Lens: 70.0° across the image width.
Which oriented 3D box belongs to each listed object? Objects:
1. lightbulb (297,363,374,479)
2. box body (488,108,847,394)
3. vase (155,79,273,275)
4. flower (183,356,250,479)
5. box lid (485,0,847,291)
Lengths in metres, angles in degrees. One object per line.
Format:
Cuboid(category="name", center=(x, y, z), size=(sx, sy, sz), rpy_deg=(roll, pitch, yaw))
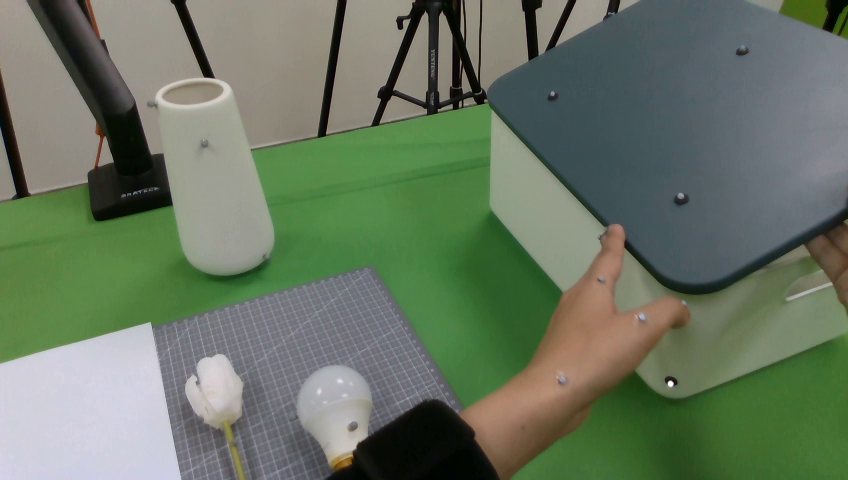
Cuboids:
Cuboid(category="lightbulb", center=(-0.065, 0.148, 0.479), size=(0.060, 0.060, 0.106), rpy_deg=(-13, 55, -17))
Cuboid(category="box body", center=(0.251, -0.037, 0.642), size=(0.255, 0.162, 0.359), rpy_deg=(-15, 40, -19))
Cuboid(category="vase", center=(-0.219, -0.061, 0.632), size=(0.098, 0.202, 0.097), rpy_deg=(-1, 37, 1))
Cuboid(category="flower", center=(-0.105, 0.218, 0.418), size=(0.044, 0.038, 0.357), rpy_deg=(-39, 50, -1))
Cuboid(category="box lid", center=(0.229, -0.123, 0.538), size=(0.263, 0.015, 0.367), rpy_deg=(-29, 40, 0))
